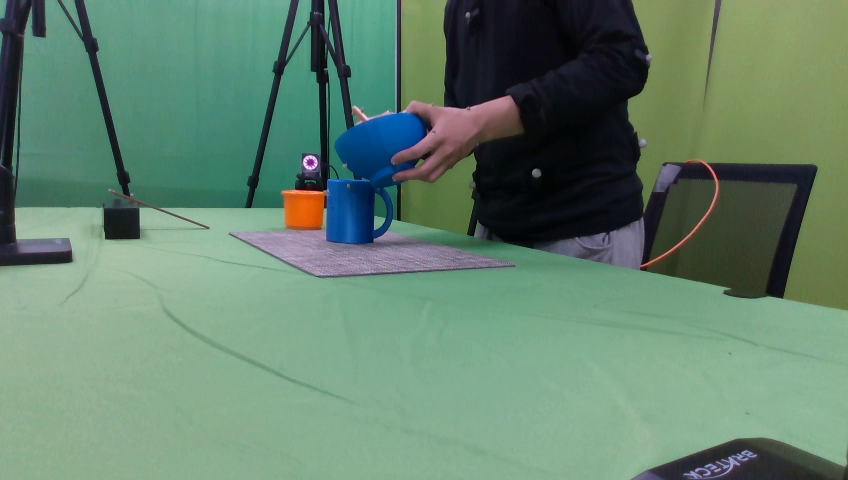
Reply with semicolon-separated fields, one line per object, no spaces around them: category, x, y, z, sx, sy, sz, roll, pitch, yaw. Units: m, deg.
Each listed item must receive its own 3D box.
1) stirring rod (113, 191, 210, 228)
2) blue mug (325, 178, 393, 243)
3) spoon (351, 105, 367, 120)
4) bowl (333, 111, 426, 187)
stirring rod;-0.484;-0.055;1.121;0.177;0.006;0.014;22;-6;-22
blue mug;-0.111;-0.052;1.034;0.116;0.106;0.082;3;8;7
spoon;-0.075;-0.185;1.005;0.022;0.041;0.193;-26;46;-27
bowl;-0.060;-0.133;0.947;0.151;0.076;0.151;-17;-9;-2
